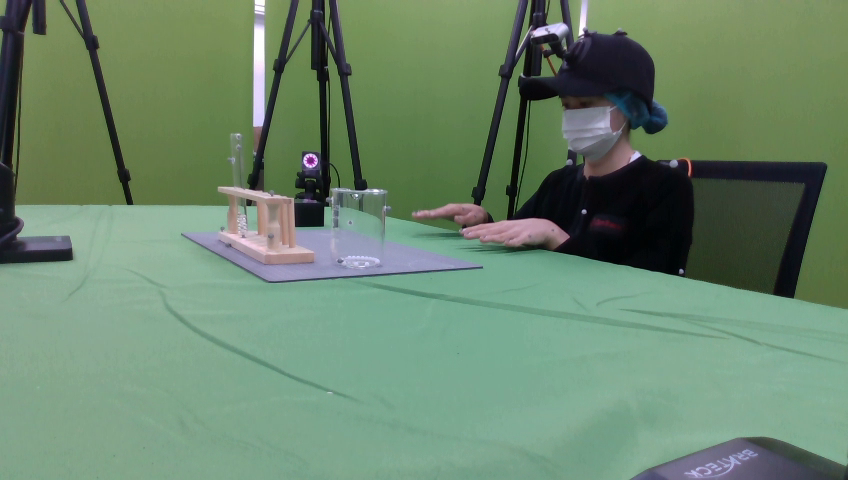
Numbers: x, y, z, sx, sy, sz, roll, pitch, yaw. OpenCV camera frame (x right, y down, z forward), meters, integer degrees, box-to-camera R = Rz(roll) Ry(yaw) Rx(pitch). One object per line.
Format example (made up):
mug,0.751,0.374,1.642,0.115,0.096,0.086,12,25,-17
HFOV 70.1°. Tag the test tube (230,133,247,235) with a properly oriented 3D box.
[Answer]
test tube,-0.273,-0.081,0.892,0.017,0.150,0.017,-1,9,0

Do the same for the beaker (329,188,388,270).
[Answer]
beaker,-0.087,-0.016,0.786,0.074,0.100,0.083,1,7,-13

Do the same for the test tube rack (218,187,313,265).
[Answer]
test tube rack,-0.235,-0.027,0.872,0.067,0.085,0.241,-2,8,-32
